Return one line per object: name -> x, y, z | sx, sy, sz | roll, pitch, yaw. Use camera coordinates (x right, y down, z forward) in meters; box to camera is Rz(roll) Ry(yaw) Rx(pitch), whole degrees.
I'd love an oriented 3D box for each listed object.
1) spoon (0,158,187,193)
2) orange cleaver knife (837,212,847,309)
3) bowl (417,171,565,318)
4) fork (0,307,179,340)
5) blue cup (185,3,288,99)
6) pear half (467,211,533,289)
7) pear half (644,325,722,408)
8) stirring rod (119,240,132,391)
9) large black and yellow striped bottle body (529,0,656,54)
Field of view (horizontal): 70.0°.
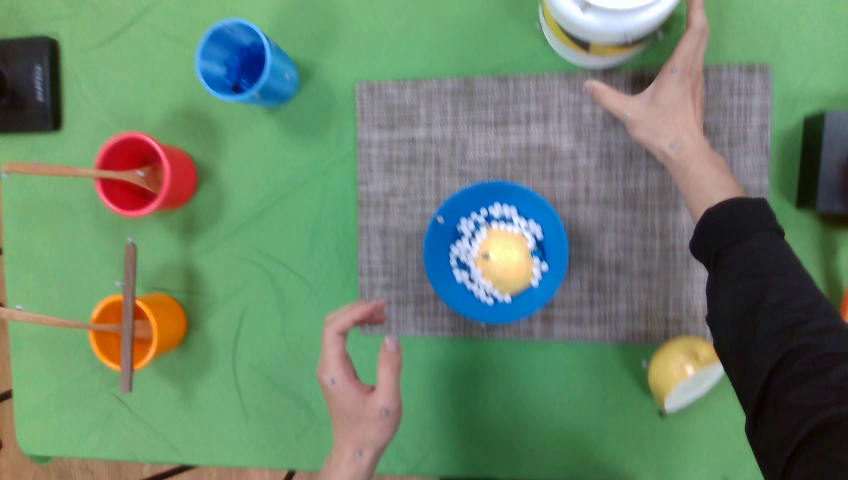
spoon -> -0.375, -0.079, 0.692 | 0.195, 0.021, 0.041 | 1, 99, -34
orange cleaver knife -> 0.432, -0.029, 0.593 | 0.012, 0.076, 0.213 | 2, 124, 15
bowl -> 0.074, 0.003, 0.652 | 0.151, 0.077, 0.151 | 1, 94, 10
fork -> -0.394, 0.095, 0.706 | 0.209, 0.018, 0.028 | 13, 108, -36
blue cup -> -0.199, -0.196, 0.674 | 0.092, 0.100, 0.092 | 1, 95, 11
pear half -> 0.077, 0.009, 0.646 | 0.070, 0.031, 0.088 | -28, 85, 10
pear half -> 0.266, 0.137, 0.651 | 0.076, 0.055, 0.110 | -4, 130, -21
stirring rod -> -0.343, 0.087, 0.695 | 0.014, 0.006, 0.176 | 4, 96, 6
large black and yellow striped bottle body -> 0.163, -0.259, 0.566 | 0.130, 0.184, 0.131 | 1, 94, 10
